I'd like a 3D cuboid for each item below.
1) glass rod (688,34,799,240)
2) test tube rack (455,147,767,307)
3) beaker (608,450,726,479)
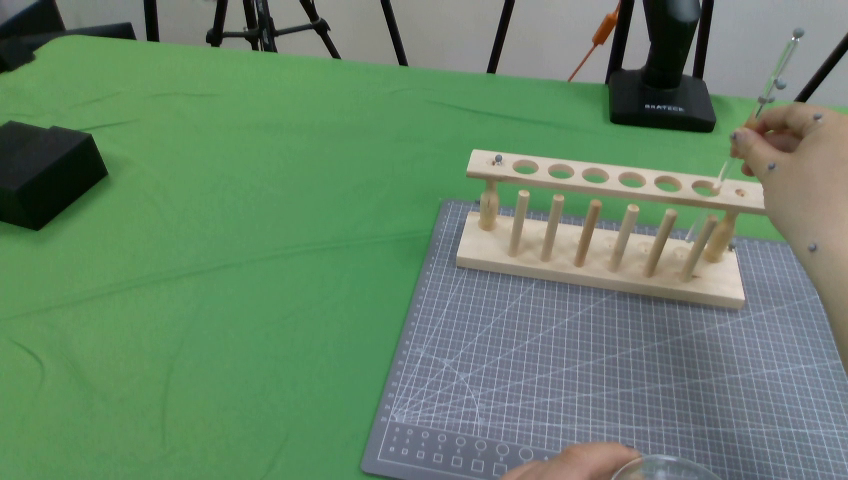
[{"bbox_3d":[0.236,-0.065,0.460,0.008,0.201,0.008,0,50,0],"label":"glass rod"},{"bbox_3d":[0.152,-0.013,0.522,0.242,0.086,0.066,9,44,9],"label":"test tube rack"},{"bbox_3d":[0.109,0.166,0.308,0.084,0.101,0.073,-1,43,-7],"label":"beaker"}]
